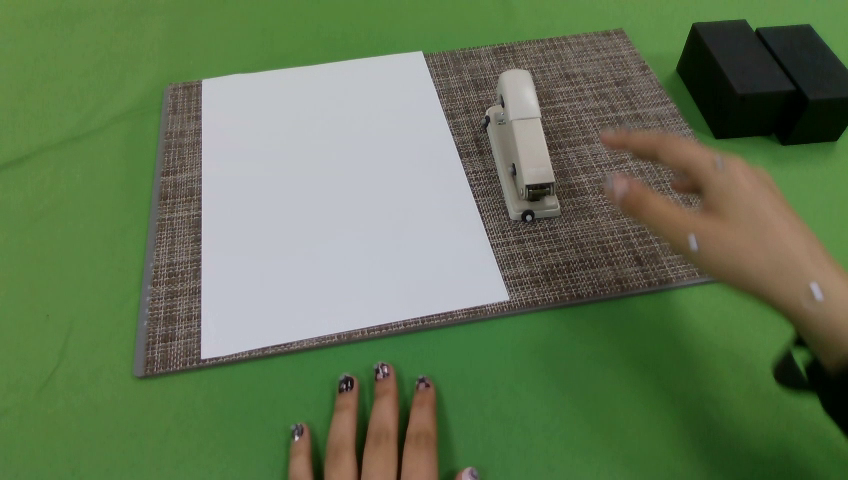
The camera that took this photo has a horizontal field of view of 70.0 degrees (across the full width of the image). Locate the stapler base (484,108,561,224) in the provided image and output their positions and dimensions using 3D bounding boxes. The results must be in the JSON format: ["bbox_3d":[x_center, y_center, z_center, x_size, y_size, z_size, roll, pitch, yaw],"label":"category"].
[{"bbox_3d":[0.079,-0.071,0.500,0.041,0.024,0.129,-8,54,-1],"label":"stapler base"}]

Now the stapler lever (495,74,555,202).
[{"bbox_3d":[0.079,-0.084,0.480,0.027,0.040,0.117,-8,54,-1],"label":"stapler lever"}]
